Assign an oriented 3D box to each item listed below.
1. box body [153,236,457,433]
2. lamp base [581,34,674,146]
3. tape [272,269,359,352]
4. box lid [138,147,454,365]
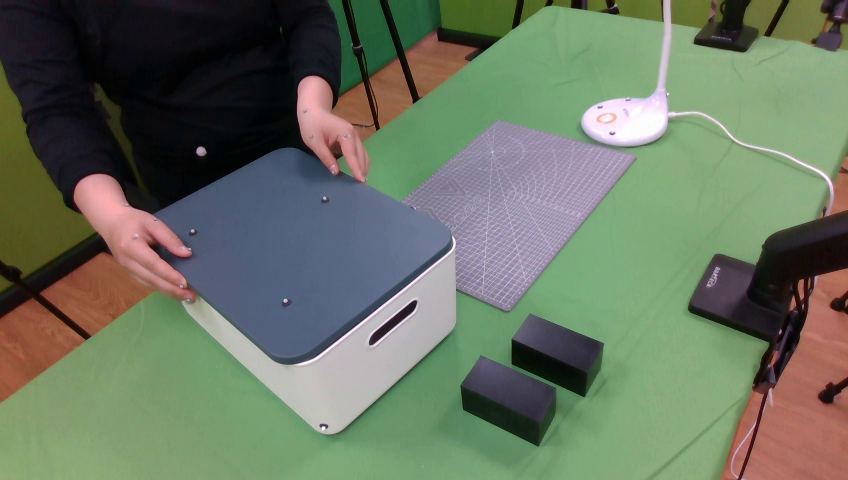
[{"bbox_3d":[-0.158,0.054,0.819,0.361,0.161,0.255,29,52,34],"label":"box body"},{"bbox_3d":[0.392,-0.291,1.129,0.180,0.181,0.159,-11,41,-8],"label":"lamp base"},{"bbox_3d":[-0.149,0.097,0.843,0.117,0.053,0.116,-4,41,4],"label":"tape"},{"bbox_3d":[-0.171,-0.006,0.768,0.368,0.015,0.264,29,52,35],"label":"box lid"}]
